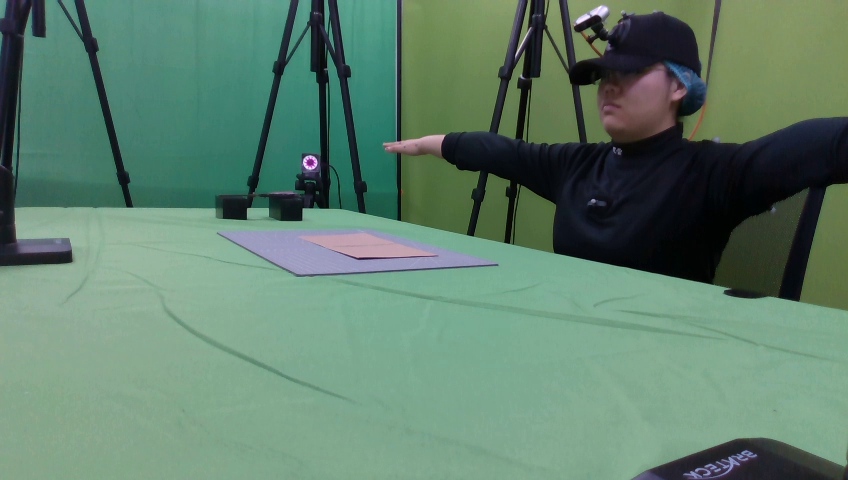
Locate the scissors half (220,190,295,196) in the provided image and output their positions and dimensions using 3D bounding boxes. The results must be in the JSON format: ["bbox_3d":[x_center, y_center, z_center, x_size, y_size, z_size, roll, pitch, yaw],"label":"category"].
[{"bbox_3d":[-0.379,-0.105,1.380,0.176,0.013,0.040,-5,16,-36],"label":"scissors half"}]

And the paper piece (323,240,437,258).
[{"bbox_3d":[-0.069,0.015,0.932,0.137,0.008,0.137,-5,10,-30],"label":"paper piece"}]

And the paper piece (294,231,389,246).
[{"bbox_3d":[-0.138,-0.003,1.045,0.136,0.004,0.134,-3,10,-31],"label":"paper piece"}]

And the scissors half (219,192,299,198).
[{"bbox_3d":[-0.370,-0.101,1.363,0.176,0.013,0.040,-2,9,-19],"label":"scissors half"}]
